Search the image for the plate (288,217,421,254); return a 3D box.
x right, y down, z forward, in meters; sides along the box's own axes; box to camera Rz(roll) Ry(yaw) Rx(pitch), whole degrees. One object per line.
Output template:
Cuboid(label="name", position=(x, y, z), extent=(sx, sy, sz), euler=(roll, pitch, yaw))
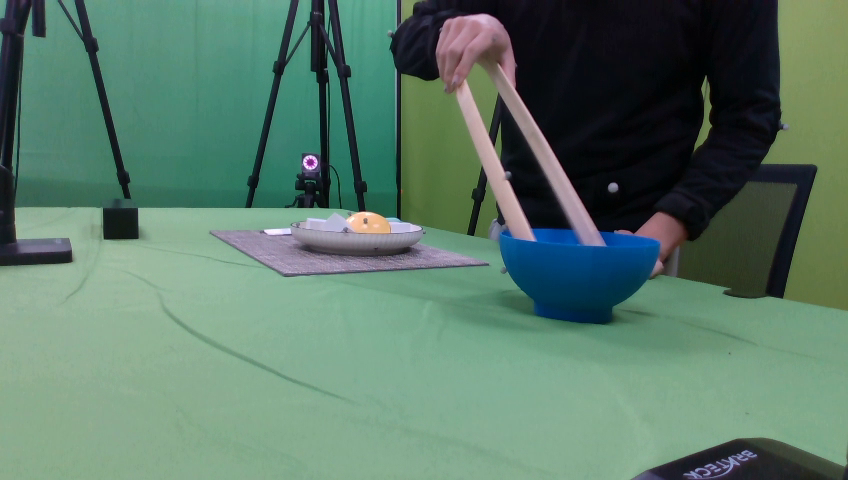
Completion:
Cuboid(label="plate", position=(-0.109, -0.007, 0.956), extent=(0.208, 0.039, 0.207), euler=(2, 7, 0))

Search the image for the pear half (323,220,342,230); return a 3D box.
Cuboid(label="pear half", position=(-0.127, -0.019, 1.001), extent=(0.088, 0.031, 0.070), euler=(8, 4, 0))

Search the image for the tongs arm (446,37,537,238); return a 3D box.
Cuboid(label="tongs arm", position=(0.082, -0.115, 0.681), extent=(0.051, 0.026, 0.383), euler=(1, 49, -23))

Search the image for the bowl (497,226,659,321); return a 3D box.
Cuboid(label="bowl", position=(0.144, 0.032, 0.583), extent=(0.151, 0.077, 0.151), euler=(2, 6, 0))

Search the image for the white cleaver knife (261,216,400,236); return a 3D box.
Cuboid(label="white cleaver knife", position=(-0.169, -0.021, 1.156), extent=(0.288, 0.021, 0.065), euler=(-7, 20, -33))

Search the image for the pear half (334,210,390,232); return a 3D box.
Cuboid(label="pear half", position=(-0.108, -0.017, 0.920), extent=(0.110, 0.056, 0.076), euler=(-4, 5, -20))

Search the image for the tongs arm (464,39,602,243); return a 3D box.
Cuboid(label="tongs arm", position=(0.123, -0.113, 0.700), extent=(0.028, 0.028, 0.386), euler=(-4, 51, -22))
